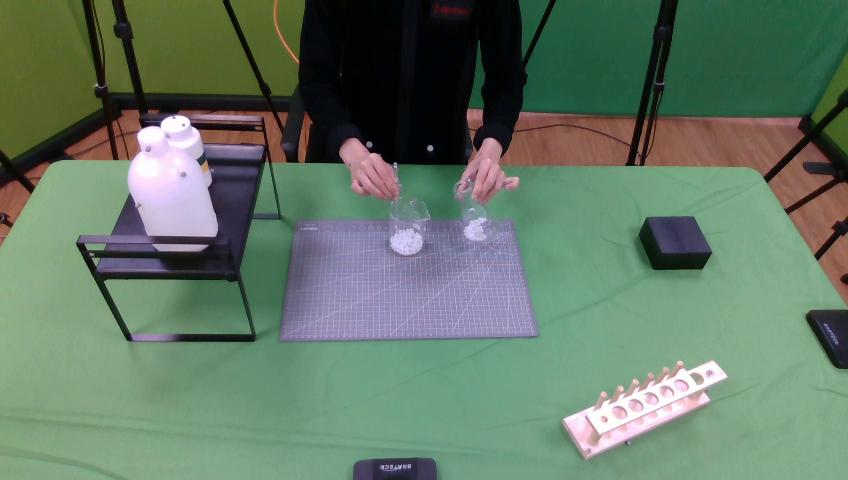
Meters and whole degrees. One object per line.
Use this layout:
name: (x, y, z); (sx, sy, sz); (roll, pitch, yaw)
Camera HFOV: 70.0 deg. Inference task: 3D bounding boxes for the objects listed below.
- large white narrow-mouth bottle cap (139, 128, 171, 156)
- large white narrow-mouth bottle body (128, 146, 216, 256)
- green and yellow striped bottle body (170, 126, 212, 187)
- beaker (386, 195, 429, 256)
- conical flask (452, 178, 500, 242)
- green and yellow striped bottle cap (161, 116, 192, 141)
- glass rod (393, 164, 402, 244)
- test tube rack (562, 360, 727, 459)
large white narrow-mouth bottle cap: (-0.358, -0.131, 0.807); (0.038, 0.024, 0.037); (3, 47, -3)
large white narrow-mouth bottle body: (-0.366, -0.073, 0.872); (0.102, 0.195, 0.101); (3, 47, -3)
green and yellow striped bottle body: (-0.389, -0.139, 0.984); (0.063, 0.120, 0.063); (2, 46, -2)
beaker: (-0.031, -0.024, 1.161); (0.084, 0.101, 0.073); (18, 48, 12)
conical flask: (0.090, -0.059, 1.130); (0.075, 0.122, 0.075); (-16, 43, 15)
green and yellow striped bottle cap: (-0.387, -0.174, 0.946); (0.045, 0.020, 0.045); (3, 44, -3)
glass rod: (-0.049, -0.061, 1.112); (0.008, 0.201, 0.008); (-1, 47, 1)
test tube rack: (0.341, 0.247, 0.940); (0.243, 0.085, 0.066); (-16, 49, -18)
